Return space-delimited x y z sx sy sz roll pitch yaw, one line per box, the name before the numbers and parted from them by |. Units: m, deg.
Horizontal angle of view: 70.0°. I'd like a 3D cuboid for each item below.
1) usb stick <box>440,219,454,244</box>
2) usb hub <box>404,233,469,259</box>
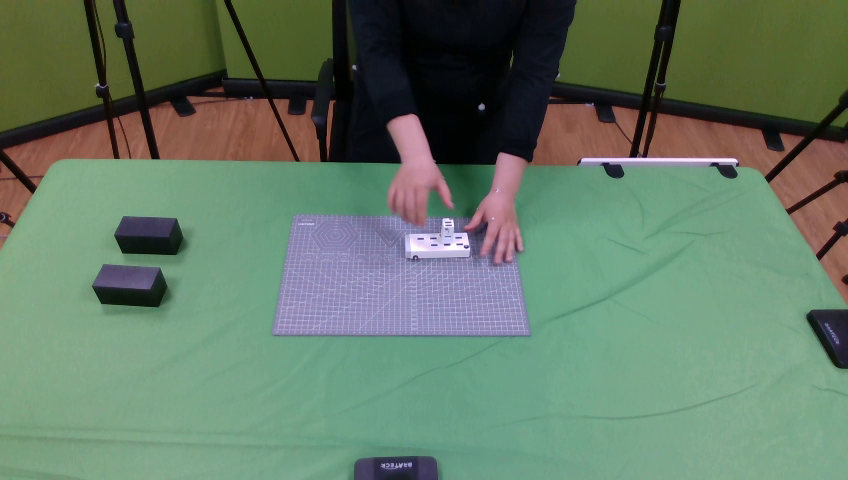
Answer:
usb stick | 0.043 -0.011 1.165 0.021 0.059 0.027 -3 48 -7
usb hub | 0.024 0.012 1.181 0.125 0.025 0.049 -1 47 -5
